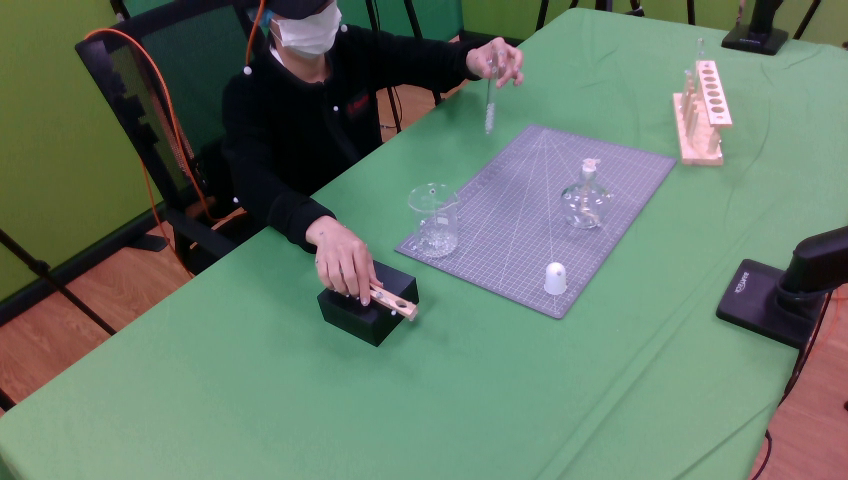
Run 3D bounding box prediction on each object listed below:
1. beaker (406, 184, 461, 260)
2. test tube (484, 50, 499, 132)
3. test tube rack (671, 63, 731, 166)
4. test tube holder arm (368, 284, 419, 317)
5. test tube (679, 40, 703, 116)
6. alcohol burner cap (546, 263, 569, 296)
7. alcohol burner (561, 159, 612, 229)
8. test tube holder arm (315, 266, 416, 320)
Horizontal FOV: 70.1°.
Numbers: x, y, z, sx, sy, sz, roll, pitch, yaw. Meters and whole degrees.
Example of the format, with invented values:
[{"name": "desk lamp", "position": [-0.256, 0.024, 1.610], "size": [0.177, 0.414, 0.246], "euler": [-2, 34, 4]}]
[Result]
[{"name": "beaker", "position": [0.019, -0.026, 0.939], "size": [0.084, 0.101, 0.074], "euler": [1, 41, 10]}, {"name": "test tube", "position": [0.115, -0.253, 1.042], "size": [0.017, 0.151, 0.017], "euler": [1, 40, 0]}, {"name": "test tube rack", "position": [0.513, -0.241, 1.132], "size": [0.066, 0.085, 0.242], "euler": [4, 41, 14]}, {"name": "test tube holder arm", "position": [-0.044, 0.081, 0.814], "size": [0.087, 0.015, 0.010], "euler": [21, 49, 30]}, {"name": "test tube", "position": [0.502, -0.303, 1.138], "size": [0.017, 0.151, 0.017], "euler": [-3, 40, 3]}, {"name": "alcohol burner cap", "position": [0.191, 0.053, 0.862], "size": [0.034, 0.048, 0.033], "euler": [-5, 40, 4]}, {"name": "alcohol burner", "position": [0.257, -0.077, 0.951], "size": [0.078, 0.119, 0.077], "euler": [-3, 40, 3]}, {"name": "test tube holder arm", "position": [-0.084, 0.071, 0.832], "size": [0.177, 0.015, 0.013], "euler": [20, 49, 29]}]
